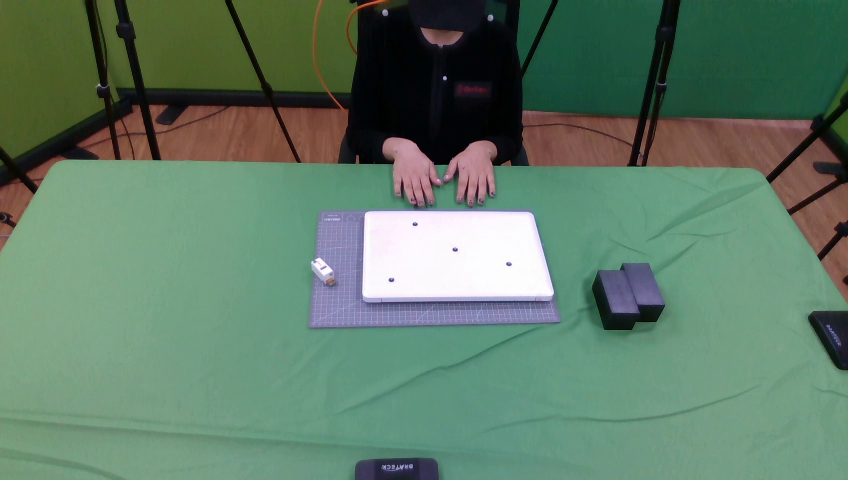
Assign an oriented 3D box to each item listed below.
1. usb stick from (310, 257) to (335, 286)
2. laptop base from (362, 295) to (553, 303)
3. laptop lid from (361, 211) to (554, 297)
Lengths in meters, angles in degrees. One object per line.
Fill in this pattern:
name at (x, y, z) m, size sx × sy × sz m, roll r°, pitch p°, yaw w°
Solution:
usb stick at (-0.186, 0.060, 1.119) m, size 0.021 × 0.027 × 0.059 m, roll -30°, pitch 57°, yaw -28°
laptop base at (0.058, 0.030, 1.176) m, size 0.355 × 0.023 × 0.234 m, roll 0°, pitch 43°, yaw -4°
laptop lid at (0.058, 0.020, 1.169) m, size 0.357 × 0.013 × 0.240 m, roll 1°, pitch 44°, yaw -3°
